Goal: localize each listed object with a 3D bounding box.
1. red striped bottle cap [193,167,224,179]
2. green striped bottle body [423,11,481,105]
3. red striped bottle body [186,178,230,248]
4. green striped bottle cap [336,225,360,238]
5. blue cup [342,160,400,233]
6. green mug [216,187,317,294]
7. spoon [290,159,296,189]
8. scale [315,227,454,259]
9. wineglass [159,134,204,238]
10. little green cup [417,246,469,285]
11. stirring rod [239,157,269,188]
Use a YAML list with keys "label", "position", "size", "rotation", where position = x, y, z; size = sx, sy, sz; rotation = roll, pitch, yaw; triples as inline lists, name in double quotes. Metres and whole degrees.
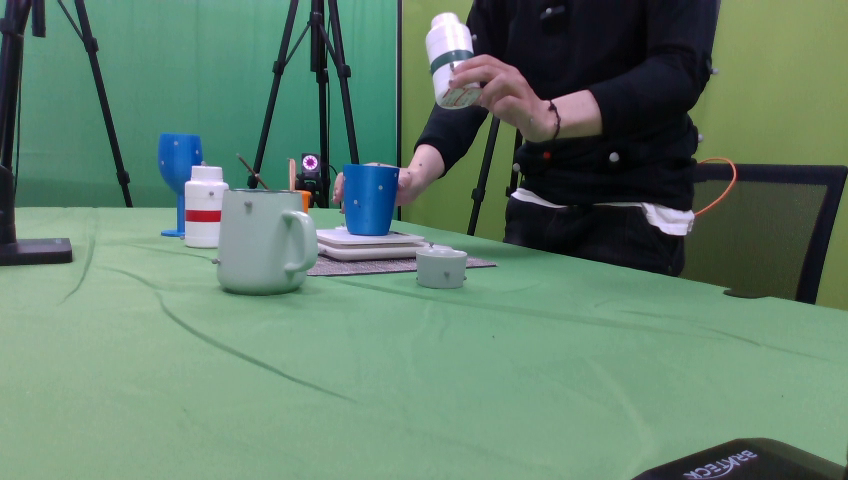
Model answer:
- label: "red striped bottle cap"
  position: [-0.329, -0.103, 0.921]
  size: [0.044, 0.017, 0.044]
  rotation: [-1, 9, 0]
- label: "green striped bottle body"
  position: [0.035, -0.250, 0.822]
  size: [0.063, 0.119, 0.063]
  rotation: [-10, -16, -3]
- label: "red striped bottle body"
  position: [-0.331, -0.050, 0.927]
  size: [0.063, 0.119, 0.063]
  rotation: [2, 7, 0]
- label: "green striped bottle cap"
  position: [-0.137, -0.015, 1.093]
  size: [0.044, 0.020, 0.044]
  rotation: [0, 10, 0]
- label: "blue cup"
  position: [-0.081, -0.062, 0.884]
  size: [0.093, 0.100, 0.092]
  rotation: [4, 5, 0]
- label: "green mug"
  position: [-0.157, 0.000, 0.629]
  size: [0.124, 0.105, 0.093]
  rotation: [7, 9, 37]
- label: "spoon"
  position: [-0.273, -0.102, 1.252]
  size: [0.042, 0.193, 0.021]
  rotation: [7, -38, -17]
- label: "scale"
  position: [-0.066, 0.001, 0.906]
  size: [0.202, 0.031, 0.148]
  rotation: [-2, 8, -31]
- label: "wineglass"
  position: [-0.415, -0.093, 1.040]
  size: [0.074, 0.172, 0.073]
  rotation: [2, 7, 0]
- label: "little green cup"
  position: [0.021, 0.029, 0.701]
  size: [0.061, 0.038, 0.061]
  rotation: [1, 6, 0]
- label: "stirring rod"
  position: [-0.309, -0.098, 1.209]
  size: [0.006, 0.177, 0.014]
  rotation: [-38, 29, -3]
